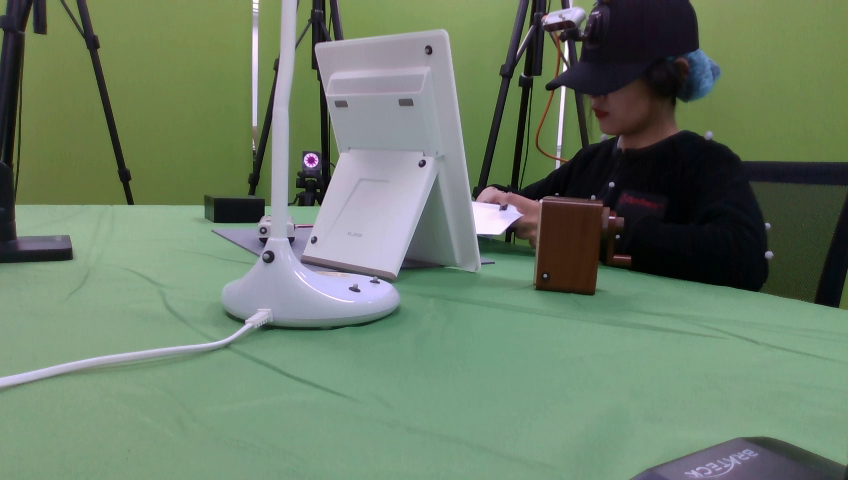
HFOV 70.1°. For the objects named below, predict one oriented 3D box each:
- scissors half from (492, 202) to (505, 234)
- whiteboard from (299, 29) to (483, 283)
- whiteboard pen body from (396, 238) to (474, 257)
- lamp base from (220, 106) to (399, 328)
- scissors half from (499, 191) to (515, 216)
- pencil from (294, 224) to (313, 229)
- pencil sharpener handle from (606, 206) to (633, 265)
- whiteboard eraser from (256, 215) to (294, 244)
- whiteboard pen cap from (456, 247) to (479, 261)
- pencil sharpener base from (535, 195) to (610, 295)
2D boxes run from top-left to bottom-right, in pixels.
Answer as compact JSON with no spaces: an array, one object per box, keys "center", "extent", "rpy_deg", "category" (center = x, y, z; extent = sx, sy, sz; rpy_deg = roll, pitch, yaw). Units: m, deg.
[{"center":[0.140,-0.043,1.111],"extent":[0.013,0.040,0.175],"rpy_deg":[28,-12,9],"category":"scissors half"},{"center":[-0.074,-0.082,0.742],"extent":[0.216,0.305,0.144],"rpy_deg":[9,30,38],"category":"whiteboard"},{"center":[0.014,0.012,0.886],"extent":[0.140,0.017,0.017],"rpy_deg":[9,10,38],"category":"whiteboard pen body"},{"center":[-0.101,-0.023,0.531],"extent":[0.160,0.180,0.179],"rpy_deg":[4,10,10],"category":"lamp base"},{"center":[0.150,-0.064,1.110],"extent":[0.013,0.040,0.175],"rpy_deg":[23,18,9],"category":"scissors half"},{"center":[-0.221,-0.028,1.211],"extent":[0.195,0.012,0.012],"rpy_deg":[-5,10,-34],"category":"pencil"},{"center":[0.223,-0.004,0.683],"extent":[0.030,0.068,0.036],"rpy_deg":[5,21,16],"category":"pencil sharpener handle"},{"center":[-0.232,-0.016,0.951],"extent":[0.056,0.042,0.112],"rpy_deg":[2,7,-12],"category":"whiteboard eraser"},{"center":[0.060,0.020,0.851],"extent":[0.033,0.018,0.018],"rpy_deg":[10,10,37],"category":"whiteboard pen cap"},{"center":[0.172,0.005,0.695],"extent":[0.076,0.107,0.061],"rpy_deg":[5,7,16],"category":"pencil sharpener base"}]
